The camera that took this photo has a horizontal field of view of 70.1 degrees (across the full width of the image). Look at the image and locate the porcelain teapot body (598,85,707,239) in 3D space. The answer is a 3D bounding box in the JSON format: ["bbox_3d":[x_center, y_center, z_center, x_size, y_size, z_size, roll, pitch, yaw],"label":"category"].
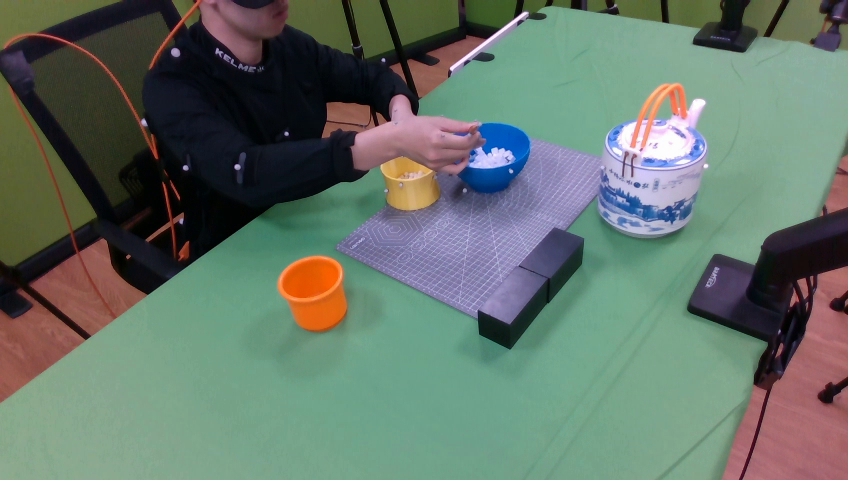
[{"bbox_3d":[0.363,-0.137,0.921,0.144,0.226,0.206,28,51,36],"label":"porcelain teapot body"}]

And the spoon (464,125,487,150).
[{"bbox_3d":[0.078,-0.163,0.947,0.041,0.021,0.194,-17,-3,7],"label":"spoon"}]

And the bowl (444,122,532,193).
[{"bbox_3d":[0.113,-0.136,1.064,0.151,0.077,0.150,-4,41,4],"label":"bowl"}]

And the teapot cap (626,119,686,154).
[{"bbox_3d":[0.338,-0.153,0.882,0.085,0.044,0.085,-3,38,3],"label":"teapot cap"}]

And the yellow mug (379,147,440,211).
[{"bbox_3d":[-0.022,-0.117,1.071,0.100,0.064,0.130,0,40,9],"label":"yellow mug"}]
